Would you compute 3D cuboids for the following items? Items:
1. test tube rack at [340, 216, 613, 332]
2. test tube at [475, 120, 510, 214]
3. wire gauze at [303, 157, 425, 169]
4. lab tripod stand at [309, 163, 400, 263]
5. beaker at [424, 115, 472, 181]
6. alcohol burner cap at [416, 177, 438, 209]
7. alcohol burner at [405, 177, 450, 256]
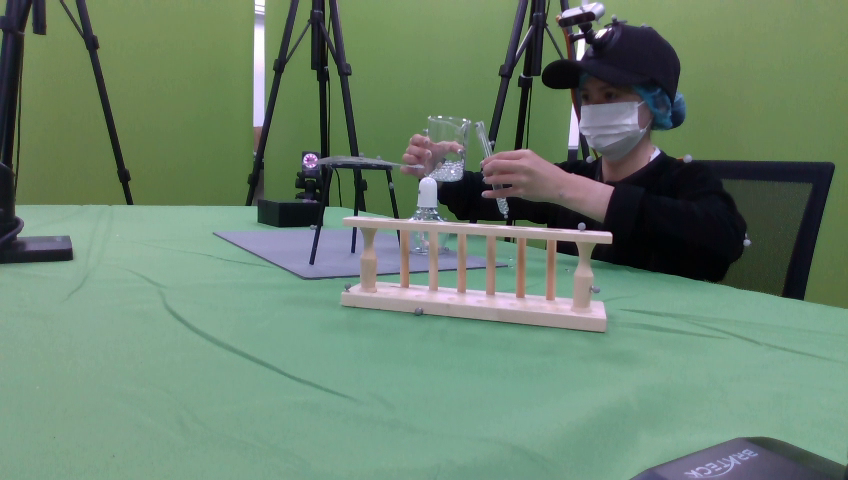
[{"bbox_3d":[0.048,0.026,0.568,0.242,0.085,0.067,4,7,13],"label":"test tube rack"},{"bbox_3d":[0.107,-0.113,0.933,0.017,0.150,0.017,-16,-3,0],"label":"test tube"},{"bbox_3d":[-0.082,-0.102,0.799,0.126,0.011,0.121,-1,7,-30],"label":"wire gauze"},{"bbox_3d":[-0.091,-0.037,0.813,0.148,0.131,0.148,1,6,0],"label":"lab tripod stand"},{"bbox_3d":[0.039,-0.152,1.002,0.074,0.100,0.083,-3,20,-24],"label":"beaker"},{"bbox_3d":[0.005,-0.072,0.914,0.034,0.048,0.034,3,10,0],"label":"alcohol burner cap"},{"bbox_3d":[0.004,-0.036,0.917,0.078,0.119,0.078,3,6,0],"label":"alcohol burner"}]
